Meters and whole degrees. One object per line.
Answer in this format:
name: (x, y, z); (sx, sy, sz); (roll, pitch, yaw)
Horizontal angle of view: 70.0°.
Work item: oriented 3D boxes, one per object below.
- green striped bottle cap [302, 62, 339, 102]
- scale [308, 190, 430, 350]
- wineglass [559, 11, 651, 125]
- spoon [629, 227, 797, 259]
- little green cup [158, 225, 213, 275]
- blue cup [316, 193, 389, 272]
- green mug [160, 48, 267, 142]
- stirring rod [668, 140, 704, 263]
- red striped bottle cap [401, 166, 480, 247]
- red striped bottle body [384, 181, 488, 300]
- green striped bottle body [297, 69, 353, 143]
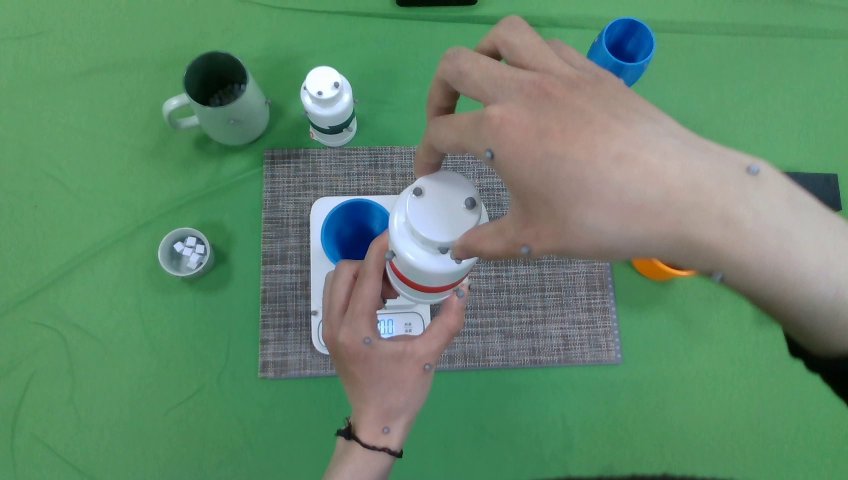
green striped bottle cap: (-0.124, -0.189, 0.722); (0.044, 0.020, 0.044); (1, 76, -3)
scale: (-0.071, 0.035, 0.768); (0.149, 0.031, 0.200); (-3, 78, -3)
wineglass: (0.225, -0.213, 0.773); (0.074, 0.173, 0.073); (1, 76, -2)
spoon: (0.346, 0.008, 0.741); (0.022, 0.192, 0.041); (18, 81, -43)
little green cup: (-0.296, 0.015, 0.760); (0.061, 0.039, 0.061); (1, 77, -4)
blue cup: (-0.076, 0.000, 0.709); (0.093, 0.100, 0.092); (1, 79, -3)
green mug: (-0.271, -0.176, 0.773); (0.125, 0.105, 0.092); (-24, 79, -8)
stirring rod: (0.324, -0.043, 0.752); (0.014, 0.177, 0.006); (3, 36, 11)
red striped bottle cap: (0.009, -0.019, 0.340); (0.044, 0.018, 0.044); (1, 72, -4)
red striped bottle body: (0.006, -0.002, 0.402); (0.063, 0.120, 0.062); (2, 72, -5)
green striped bottle body: (-0.125, -0.176, 0.773); (0.063, 0.119, 0.063); (1, 76, -2)
